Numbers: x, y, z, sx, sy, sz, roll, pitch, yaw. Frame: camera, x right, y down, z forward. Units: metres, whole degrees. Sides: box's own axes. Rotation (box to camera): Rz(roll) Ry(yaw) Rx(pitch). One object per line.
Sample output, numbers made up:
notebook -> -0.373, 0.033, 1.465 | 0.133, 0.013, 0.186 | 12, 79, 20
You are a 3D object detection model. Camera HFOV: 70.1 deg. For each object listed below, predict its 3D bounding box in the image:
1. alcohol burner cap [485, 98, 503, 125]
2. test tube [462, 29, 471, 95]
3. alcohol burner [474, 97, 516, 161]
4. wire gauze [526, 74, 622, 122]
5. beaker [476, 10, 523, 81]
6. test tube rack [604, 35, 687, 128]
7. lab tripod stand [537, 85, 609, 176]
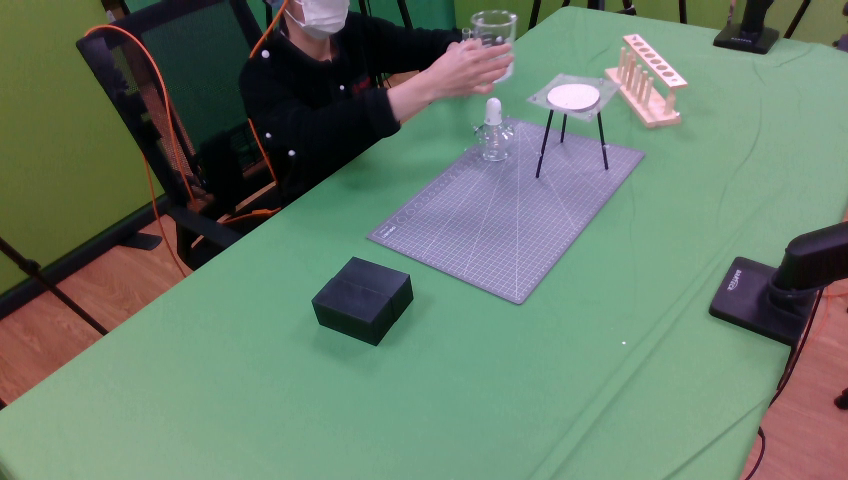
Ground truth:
alcohol burner cap -> 0.126, -0.234, 1.097 | 0.034, 0.048, 0.033 | -3, 39, 3
test tube -> 0.080, -0.336, 1.155 | 0.017, 0.151, 0.017 | -1, 56, 3
alcohol burner -> 0.131, -0.208, 1.121 | 0.078, 0.119, 0.077 | -6, 40, 5
wire gauze -> 0.255, -0.248, 1.030 | 0.124, 0.011, 0.122 | 24, 51, 32
beaker -> 0.128, -0.327, 1.017 | 0.084, 0.100, 0.073 | -19, 42, -18
test tube rack -> 0.447, -0.330, 1.241 | 0.067, 0.085, 0.241 | -9, 41, -2
lab tripod stand -> 0.259, -0.192, 1.068 | 0.148, 0.132, 0.147 | -4, 43, 4
